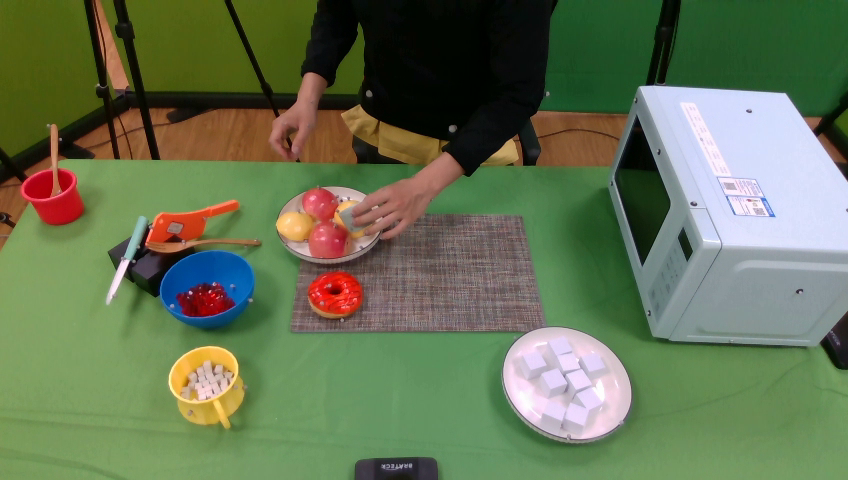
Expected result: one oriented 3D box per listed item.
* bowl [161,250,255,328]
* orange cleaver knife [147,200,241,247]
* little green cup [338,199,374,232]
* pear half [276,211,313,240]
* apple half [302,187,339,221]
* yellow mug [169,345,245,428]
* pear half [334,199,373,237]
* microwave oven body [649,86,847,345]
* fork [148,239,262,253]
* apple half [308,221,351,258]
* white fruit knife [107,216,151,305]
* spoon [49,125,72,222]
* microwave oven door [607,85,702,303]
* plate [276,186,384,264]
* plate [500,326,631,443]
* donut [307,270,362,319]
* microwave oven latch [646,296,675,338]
[{"bbox_3d":[-0.362,0.097,1.040,0.151,0.077,0.150,2,45,-2],"label":"bowl"},{"bbox_3d":[-0.435,-0.033,1.157,0.012,0.077,0.211,31,26,19],"label":"orange cleaver knife"},{"bbox_3d":[-0.120,-0.043,1.096,0.061,0.039,0.061,-22,18,8],"label":"little green cup"},{"bbox_3d":[-0.244,-0.035,1.179,0.070,0.031,0.088,42,39,2],"label":"pear half"},{"bbox_3d":[-0.204,-0.077,1.217,0.081,0.033,0.081,18,47,-20],"label":"apple half"},{"bbox_3d":[-0.322,0.230,0.922,0.100,0.064,0.130,-24,53,-25],"label":"yellow mug"},{"bbox_3d":[-0.147,-0.060,1.210,0.076,0.056,0.109,-16,44,-25],"label":"pear half"},{"bbox_3d":[0.568,-0.053,1.118,0.326,0.261,0.439,2,45,-1],"label":"microwave oven body"},{"bbox_3d":[-0.398,0.008,1.117,0.208,0.019,0.028,-5,35,-37],"label":"fork"},{"bbox_3d":[-0.180,-0.005,1.150,0.074,0.053,0.080,14,43,8],"label":"apple half"},{"bbox_3d":[-0.518,0.032,1.066,0.027,0.016,0.206,-18,45,19],"label":"white fruit knife"},{"bbox_3d":[-0.717,-0.132,1.188,0.042,0.021,0.193,-3,90,-7],"label":"spoon"},{"bbox_3d":[0.423,-0.094,1.140,0.039,0.245,0.353,2,46,-1],"label":"microwave oven door"},{"bbox_3d":[-0.184,-0.027,1.195,0.209,0.038,0.208,2,46,-2],"label":"plate"},{"bbox_3d":[0.224,0.234,0.978,0.208,0.039,0.206,2,46,-2],"label":"plate"},{"bbox_3d":[-0.157,0.097,1.073,0.099,0.048,0.098,4,46,-4],"label":"donut"},{"bbox_3d":[0.412,0.134,1.061,0.030,0.029,0.078,3,45,0],"label":"microwave oven latch"}]
